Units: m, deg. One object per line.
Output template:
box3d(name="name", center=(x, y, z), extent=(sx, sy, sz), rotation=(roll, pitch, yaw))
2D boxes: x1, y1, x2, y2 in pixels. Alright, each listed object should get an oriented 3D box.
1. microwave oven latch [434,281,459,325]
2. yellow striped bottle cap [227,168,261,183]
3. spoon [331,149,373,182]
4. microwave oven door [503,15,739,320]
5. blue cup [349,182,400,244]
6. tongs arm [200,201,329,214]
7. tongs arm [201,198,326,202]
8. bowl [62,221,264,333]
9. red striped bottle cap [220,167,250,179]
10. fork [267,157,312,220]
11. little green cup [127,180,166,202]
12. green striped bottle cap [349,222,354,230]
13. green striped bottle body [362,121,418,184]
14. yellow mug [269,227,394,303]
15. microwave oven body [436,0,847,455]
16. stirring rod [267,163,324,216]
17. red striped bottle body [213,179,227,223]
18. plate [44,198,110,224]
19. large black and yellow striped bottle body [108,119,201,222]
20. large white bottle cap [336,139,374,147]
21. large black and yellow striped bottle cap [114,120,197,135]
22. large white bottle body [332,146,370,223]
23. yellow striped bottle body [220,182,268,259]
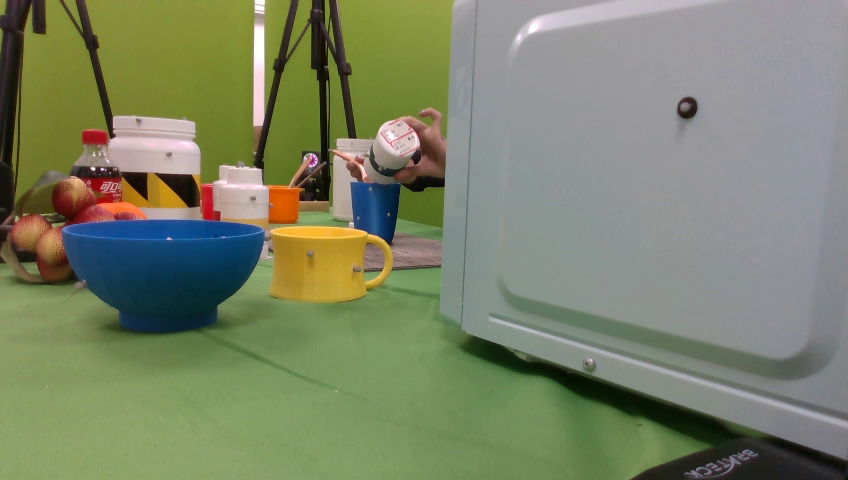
box3d(name="microwave oven latch", center=(0.044, 0.045, 0.470), extent=(0.079, 0.029, 0.030), rotation=(-2, 8, -39))
box3d(name="yellow striped bottle cap", center=(-0.243, -0.087, 0.818), extent=(0.044, 0.018, 0.044), rotation=(3, 6, 0))
box3d(name="spoon", center=(-0.116, -0.127, 1.051), extent=(0.042, 0.021, 0.192), rotation=(-7, 31, -32))
box3d(name="microwave oven door", center=(0.218, -0.065, 0.600), extent=(0.358, 0.243, 0.039), rotation=(-4, 10, -41))
box3d(name="blue cup", center=(-0.083, -0.047, 1.010), extent=(0.093, 0.100, 0.092), rotation=(1, 6, 0))
box3d(name="tongs arm", center=(-0.378, -0.079, 1.440), extent=(0.387, 0.026, 0.050), rotation=(-4, 8, -44))
box3d(name="tongs arm", center=(-0.433, -0.090, 1.508), extent=(0.390, 0.028, 0.028), rotation=(-1, 2, -29))
box3d(name="bowl", center=(-0.209, 0.029, 0.496), extent=(0.151, 0.077, 0.151), rotation=(2, 7, 0))
box3d(name="red striped bottle cap", center=(-0.281, -0.100, 0.901), extent=(0.044, 0.017, 0.044), rotation=(-1, 4, 0))
box3d(name="fork", center=(-0.290, -0.116, 1.321), extent=(0.028, 0.019, 0.207), rotation=(6, 52, 18))
box3d(name="little green cup", center=(-0.486, -0.086, 1.061), extent=(0.061, 0.038, 0.061), rotation=(1, 7, 0))
box3d(name="green striped bottle cap", center=(-0.122, -0.024, 1.156), extent=(0.044, 0.020, 0.044), rotation=(0, 9, 0))
box3d(name="green striped bottle body", center=(-0.057, -0.129, 0.939), extent=(0.063, 0.063, 0.119), rotation=(0, -18, -22))
box3d(name="yellow mug", center=(-0.094, 0.023, 0.629), extent=(0.131, 0.064, 0.099), rotation=(0, 7, -22))
box3d(name="microwave oven body", center=(0.279, -0.040, 0.465), extent=(0.444, 0.260, 0.324), rotation=(-3, 9, -41))
box3d(name="stirring rod", center=(-0.278, -0.105, 1.294), extent=(0.176, 0.006, 0.014), rotation=(-47, 25, -18))
box3d(name="red striped bottle body", center=(-0.284, -0.048, 0.910), extent=(0.063, 0.119, 0.063), rotation=(3, 12, 0))
box3d(name="plate", center=(-0.617, -0.056, 1.179), extent=(0.209, 0.038, 0.209), rotation=(3, 7, 0))
box3d(name="large black and yellow striped bottle body", center=(-0.412, -0.088, 0.930), extent=(0.131, 0.184, 0.130), rotation=(3, 7, 0))
box3d(name="large white bottle cap", center=(-0.143, -0.219, 1.375), extent=(0.115, 0.018, 0.115), rotation=(2, 8, 0))
box3d(name="large black and yellow striped bottle cap", center=(-0.407, -0.171, 0.920), extent=(0.115, 0.019, 0.115), rotation=(2, 9, 0))
box3d(name="large white bottle body", center=(-0.146, -0.136, 1.388), extent=(0.131, 0.184, 0.130), rotation=(2, 8, 0))
box3d(name="yellow striped bottle body", center=(-0.246, -0.036, 0.825), extent=(0.063, 0.120, 0.063), rotation=(3, 8, 0))
